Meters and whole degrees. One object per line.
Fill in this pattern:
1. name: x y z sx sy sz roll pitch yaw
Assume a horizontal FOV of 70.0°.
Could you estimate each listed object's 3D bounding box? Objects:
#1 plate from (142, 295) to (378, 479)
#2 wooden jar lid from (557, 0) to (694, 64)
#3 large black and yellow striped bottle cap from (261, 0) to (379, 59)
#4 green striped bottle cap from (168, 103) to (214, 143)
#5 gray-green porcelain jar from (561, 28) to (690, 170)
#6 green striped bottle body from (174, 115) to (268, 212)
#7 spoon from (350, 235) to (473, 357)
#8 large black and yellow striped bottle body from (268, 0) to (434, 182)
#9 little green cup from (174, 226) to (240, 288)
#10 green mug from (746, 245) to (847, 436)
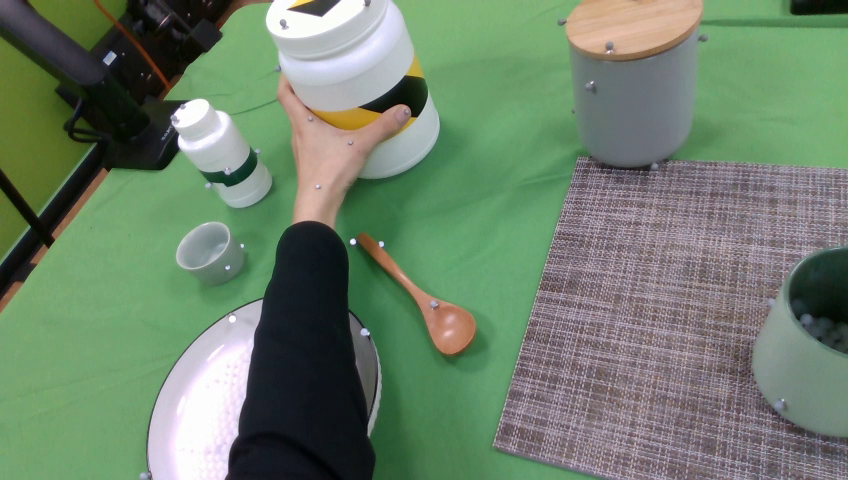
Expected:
1. plate: -0.134 0.143 0.513 0.209 0.038 0.207 -10 51 13
2. wooden jar lid: 0.168 -0.177 0.508 0.108 0.021 0.107 -12 48 14
3. large black and yellow striped bottle cap: -0.099 -0.213 0.570 0.115 0.019 0.114 -10 50 12
4. green striped bottle cap: -0.245 -0.123 0.638 0.044 0.020 0.044 -8 54 11
5. gray-green porcelain jar: 0.184 -0.137 0.554 0.106 0.128 0.105 -10 47 11
6. green striped bottle body: -0.231 -0.091 0.677 0.063 0.120 0.062 -10 51 13
7. spoon: -0.019 0.042 0.560 0.041 0.022 0.191 -49 52 1
8. large black and yellow striped bottle body: -0.074 -0.165 0.634 0.130 0.186 0.129 -10 51 13
9. little green cup: -0.228 0.020 0.643 0.061 0.039 0.061 -10 49 13
10. green mug: 0.270 0.071 0.371 0.124 0.106 0.092 28 67 34
